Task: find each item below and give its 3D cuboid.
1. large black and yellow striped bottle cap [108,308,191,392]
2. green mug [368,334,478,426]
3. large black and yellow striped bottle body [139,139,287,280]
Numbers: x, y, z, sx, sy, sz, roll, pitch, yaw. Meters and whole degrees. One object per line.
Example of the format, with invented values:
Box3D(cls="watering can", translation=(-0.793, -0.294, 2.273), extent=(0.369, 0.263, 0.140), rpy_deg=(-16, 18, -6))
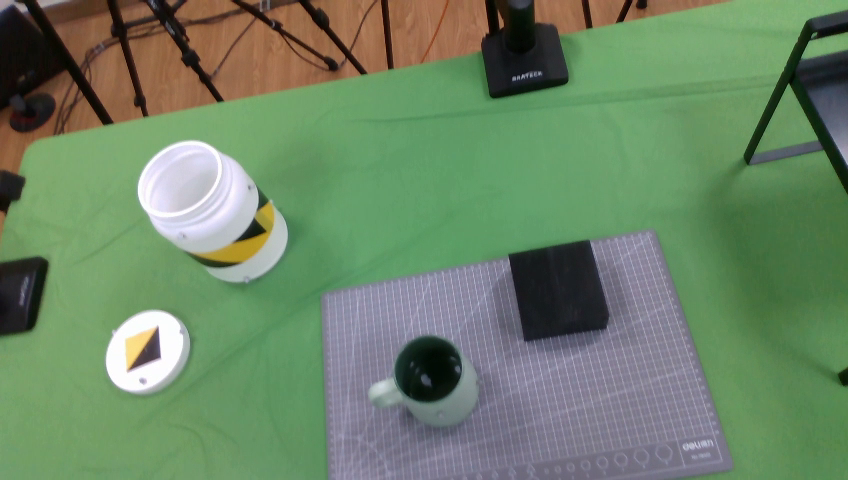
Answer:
Box3D(cls="large black and yellow striped bottle cap", translation=(-0.377, 0.150, 0.831), extent=(0.115, 0.019, 0.114), rpy_deg=(-5, 62, 9))
Box3D(cls="green mug", translation=(-0.003, 0.166, 0.696), extent=(0.125, 0.106, 0.091), rpy_deg=(-18, 63, 2))
Box3D(cls="large black and yellow striped bottle body", translation=(-0.275, -0.038, 0.806), extent=(0.130, 0.185, 0.129), rpy_deg=(-5, 63, 9))
